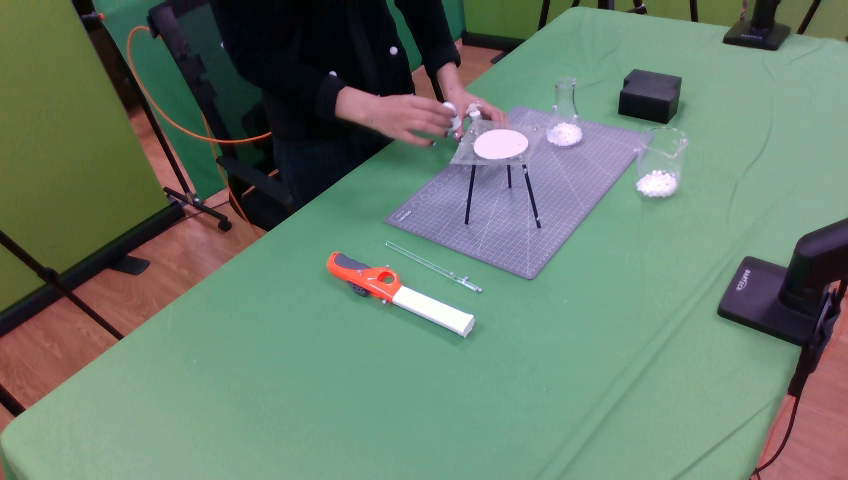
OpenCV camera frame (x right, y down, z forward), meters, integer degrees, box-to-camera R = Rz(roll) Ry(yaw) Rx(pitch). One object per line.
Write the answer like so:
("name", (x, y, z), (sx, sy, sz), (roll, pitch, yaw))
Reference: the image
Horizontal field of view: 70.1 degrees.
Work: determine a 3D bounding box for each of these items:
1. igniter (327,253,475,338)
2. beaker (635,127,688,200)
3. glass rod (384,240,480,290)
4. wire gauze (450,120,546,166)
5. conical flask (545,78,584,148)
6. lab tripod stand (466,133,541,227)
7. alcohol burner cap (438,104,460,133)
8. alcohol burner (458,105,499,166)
("igniter", (-0.045, 0.077, 0.898), (0.274, 0.025, 0.057), (22, 60, 32))
("beaker", (0.388, -0.122, 0.994), (0.074, 0.101, 0.083), (-8, 40, 2))
("glass rod", (0.009, 0.037, 0.949), (0.198, 0.008, 0.008), (26, 52, 34))
("wire gauze", (0.117, -0.151, 0.943), (0.121, 0.011, 0.125), (9, 43, 21))
("conical flask", (0.264, -0.241, 1.135), (0.075, 0.122, 0.075), (-6, 40, 5))
("lab tripod stand", (0.129, -0.099, 0.985), (0.148, 0.132, 0.147), (-7, 38, 6))
("alcohol burner cap", (0.041, -0.211, 1.040), (0.034, 0.048, 0.033), (-12, 47, 14))
("alcohol burner", (0.099, -0.199, 1.125), (0.078, 0.120, 0.077), (-6, 42, 6))
